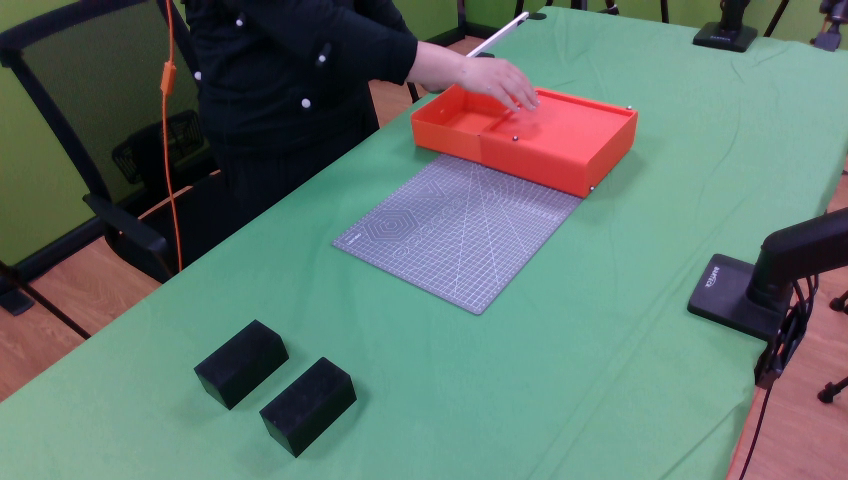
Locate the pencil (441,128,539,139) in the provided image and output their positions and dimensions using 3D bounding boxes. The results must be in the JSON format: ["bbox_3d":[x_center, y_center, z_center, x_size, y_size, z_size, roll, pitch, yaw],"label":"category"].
[{"bbox_3d":[0.128,-0.208,1.191,0.194,0.012,0.012,-3,40,8],"label":"pencil"}]

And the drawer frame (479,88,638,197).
[{"bbox_3d":[0.243,-0.185,1.101,0.212,0.083,0.202,23,48,30],"label":"drawer frame"}]

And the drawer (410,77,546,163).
[{"bbox_3d":[0.113,-0.235,1.186,0.210,0.073,0.195,21,46,32],"label":"drawer"}]
